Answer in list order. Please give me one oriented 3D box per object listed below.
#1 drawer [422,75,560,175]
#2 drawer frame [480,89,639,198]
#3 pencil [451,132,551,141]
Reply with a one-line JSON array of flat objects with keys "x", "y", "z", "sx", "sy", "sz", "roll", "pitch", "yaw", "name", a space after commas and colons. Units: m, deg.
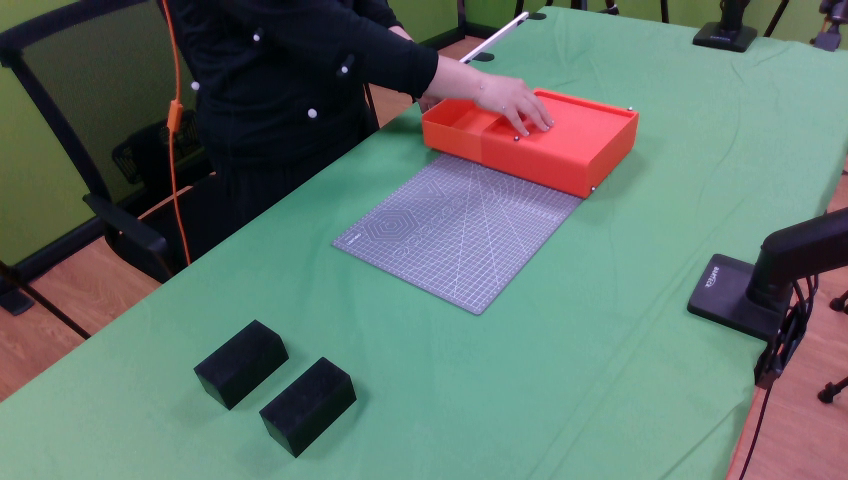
[{"x": 0.136, "y": -0.226, "z": 1.167, "sx": 0.210, "sy": 0.073, "sz": 0.195, "roll": 24, "pitch": 49, "yaw": 29, "name": "drawer"}, {"x": 0.245, "y": -0.183, "z": 1.100, "sx": 0.212, "sy": 0.083, "sz": 0.202, "roll": 23, "pitch": 47, "yaw": 30, "name": "drawer frame"}, {"x": 0.149, "y": -0.200, "z": 1.175, "sx": 0.194, "sy": 0.012, "sz": 0.012, "roll": -1, "pitch": 40, "yaw": 7, "name": "pencil"}]
